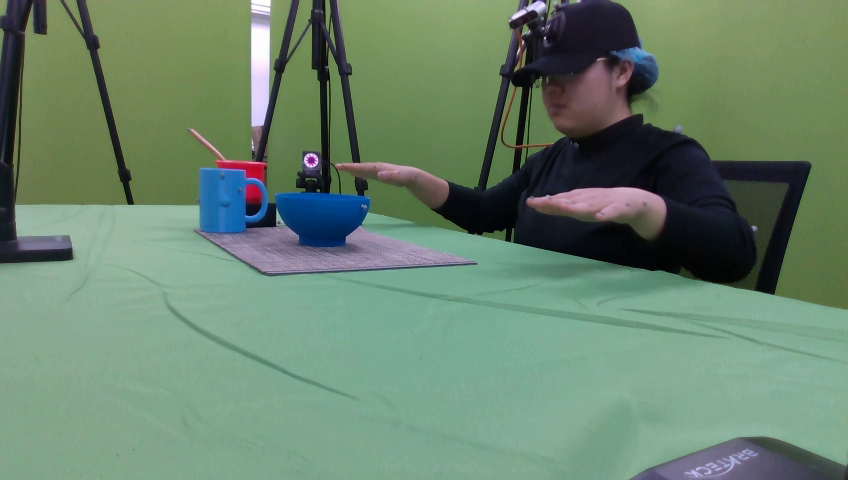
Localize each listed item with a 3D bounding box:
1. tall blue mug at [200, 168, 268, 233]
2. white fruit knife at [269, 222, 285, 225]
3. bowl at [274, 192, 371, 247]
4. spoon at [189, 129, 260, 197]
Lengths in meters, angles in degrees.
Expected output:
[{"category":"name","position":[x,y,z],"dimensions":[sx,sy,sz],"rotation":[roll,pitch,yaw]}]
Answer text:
[{"category":"tall blue mug","position":[-0.342,-0.071,1.072],"dimensions":[0.077,0.108,0.108],"rotation":[8,9,38]},{"category":"white fruit knife","position":[-0.222,-0.038,1.261],"dimensions":[0.208,0.016,0.027],"rotation":[-4,-18,-32]},{"category":"bowl","position":[-0.161,-0.033,0.958],"dimensions":[0.151,0.077,0.151],"rotation":[3,7,0]},{"category":"spoon","position":[-0.388,-0.150,1.174],"dimensions":[0.193,0.021,0.042],"rotation":[49,20,7]}]
